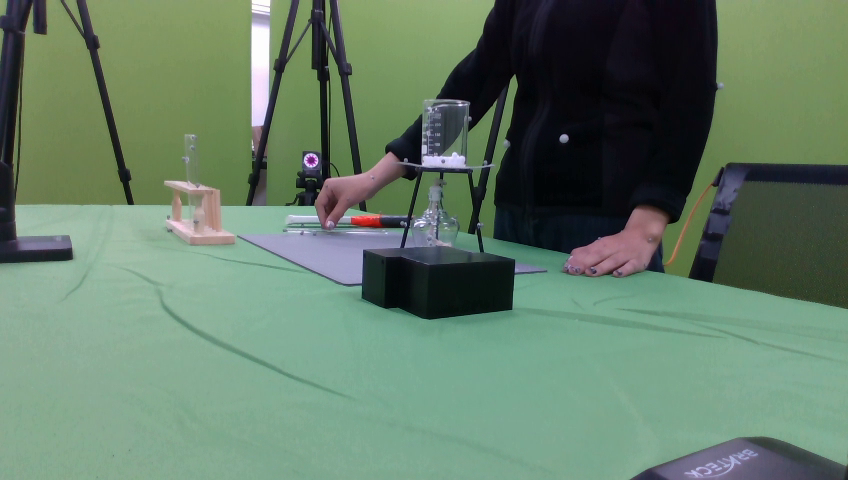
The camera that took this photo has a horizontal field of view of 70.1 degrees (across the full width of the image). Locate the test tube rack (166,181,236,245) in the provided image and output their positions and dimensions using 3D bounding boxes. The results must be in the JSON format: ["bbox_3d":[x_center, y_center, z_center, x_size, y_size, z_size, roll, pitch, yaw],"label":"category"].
[{"bbox_3d":[-0.383,-0.051,1.024,0.067,0.085,0.241,-2,9,-31],"label":"test tube rack"}]

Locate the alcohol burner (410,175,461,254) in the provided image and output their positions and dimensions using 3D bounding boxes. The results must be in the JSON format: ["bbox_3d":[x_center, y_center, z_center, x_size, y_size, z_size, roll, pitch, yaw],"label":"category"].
[{"bbox_3d":[0.018,-0.040,0.931,0.078,0.119,0.078,0,7,0],"label":"alcohol burner"}]

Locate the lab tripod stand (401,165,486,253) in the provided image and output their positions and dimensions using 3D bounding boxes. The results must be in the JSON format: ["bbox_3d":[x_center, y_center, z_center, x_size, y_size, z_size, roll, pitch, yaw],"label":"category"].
[{"bbox_3d":[0.028,-0.049,0.930,0.148,0.131,0.148,3,9,0],"label":"lab tripod stand"}]

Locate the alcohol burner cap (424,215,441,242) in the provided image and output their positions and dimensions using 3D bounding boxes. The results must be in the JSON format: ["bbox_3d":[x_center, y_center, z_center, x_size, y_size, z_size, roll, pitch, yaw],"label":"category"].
[{"bbox_3d":[0.016,-0.022,1.098,0.034,0.048,0.034,3,8,0],"label":"alcohol burner cap"}]

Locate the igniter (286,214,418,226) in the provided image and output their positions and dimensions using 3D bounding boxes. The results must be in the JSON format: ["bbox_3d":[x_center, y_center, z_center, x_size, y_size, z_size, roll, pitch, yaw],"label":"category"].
[{"bbox_3d":[-0.145,-0.043,1.262,0.278,0.025,0.057,-1,-2,-25],"label":"igniter"}]

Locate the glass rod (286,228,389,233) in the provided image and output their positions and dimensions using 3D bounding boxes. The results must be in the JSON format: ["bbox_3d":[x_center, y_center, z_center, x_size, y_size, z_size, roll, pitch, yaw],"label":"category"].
[{"bbox_3d":[-0.153,-0.017,1.101,0.201,0.008,0.008,1,7,-30],"label":"glass rod"}]

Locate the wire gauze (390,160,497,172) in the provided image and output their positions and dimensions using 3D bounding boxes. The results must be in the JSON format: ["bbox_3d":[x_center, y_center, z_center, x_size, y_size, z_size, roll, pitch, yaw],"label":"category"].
[{"bbox_3d":[0.028,-0.114,0.920,0.122,0.011,0.124,-5,13,-34],"label":"wire gauze"}]

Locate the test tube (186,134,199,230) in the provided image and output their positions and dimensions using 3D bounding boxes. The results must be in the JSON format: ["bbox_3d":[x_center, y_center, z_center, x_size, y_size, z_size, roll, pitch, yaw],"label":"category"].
[{"bbox_3d":[-0.360,-0.089,0.946,0.017,0.150,0.017,0,10,0],"label":"test tube"}]

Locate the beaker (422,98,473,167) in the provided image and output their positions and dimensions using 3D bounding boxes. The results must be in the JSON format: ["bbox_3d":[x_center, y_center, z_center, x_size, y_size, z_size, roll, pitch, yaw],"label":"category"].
[{"bbox_3d":[0.031,-0.162,0.919,0.074,0.100,0.083,-4,10,-36],"label":"beaker"}]
